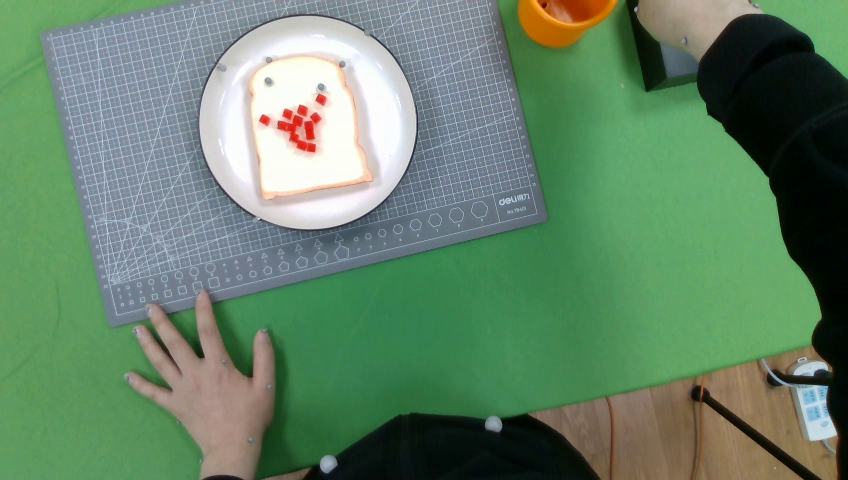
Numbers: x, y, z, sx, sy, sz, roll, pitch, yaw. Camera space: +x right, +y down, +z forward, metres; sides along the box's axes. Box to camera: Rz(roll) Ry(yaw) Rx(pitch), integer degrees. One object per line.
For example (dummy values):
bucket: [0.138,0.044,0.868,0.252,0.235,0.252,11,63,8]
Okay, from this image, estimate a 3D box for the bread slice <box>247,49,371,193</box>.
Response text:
bread slice: [-0.119,-0.117,0.592,0.107,0.018,0.134,-14,89,-5]

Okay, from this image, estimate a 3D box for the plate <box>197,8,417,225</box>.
plate: [-0.111,-0.118,0.592,0.209,0.038,0.209,0,89,-3]
